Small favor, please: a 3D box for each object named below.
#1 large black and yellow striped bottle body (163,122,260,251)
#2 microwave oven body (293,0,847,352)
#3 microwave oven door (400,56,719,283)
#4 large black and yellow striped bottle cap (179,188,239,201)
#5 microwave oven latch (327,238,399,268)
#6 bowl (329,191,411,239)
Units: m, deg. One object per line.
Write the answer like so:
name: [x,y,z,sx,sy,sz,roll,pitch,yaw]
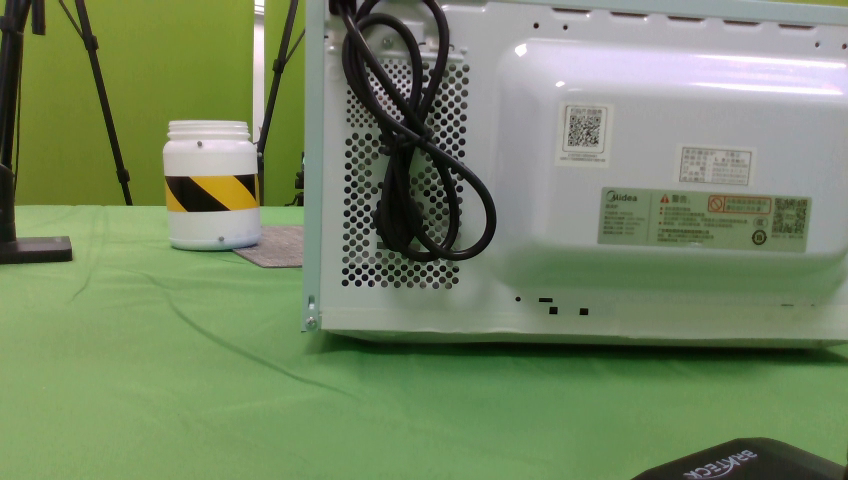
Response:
large black and yellow striped bottle body: [-0.317,-0.083,0.907,0.131,0.184,0.130,0,9,0]
microwave oven body: [0.122,-0.055,0.550,0.442,0.260,0.325,3,7,-5]
microwave oven door: [0.155,-0.077,0.698,0.356,0.243,0.039,2,8,-5]
large black and yellow striped bottle cap: [-0.434,-0.093,1.226,0.115,0.019,0.115,3,9,0]
microwave oven latch: [-0.069,0.015,0.694,0.079,0.029,0.030,3,7,-3]
bowl: [-0.099,-0.046,1.104,0.151,0.077,0.151,3,8,0]
